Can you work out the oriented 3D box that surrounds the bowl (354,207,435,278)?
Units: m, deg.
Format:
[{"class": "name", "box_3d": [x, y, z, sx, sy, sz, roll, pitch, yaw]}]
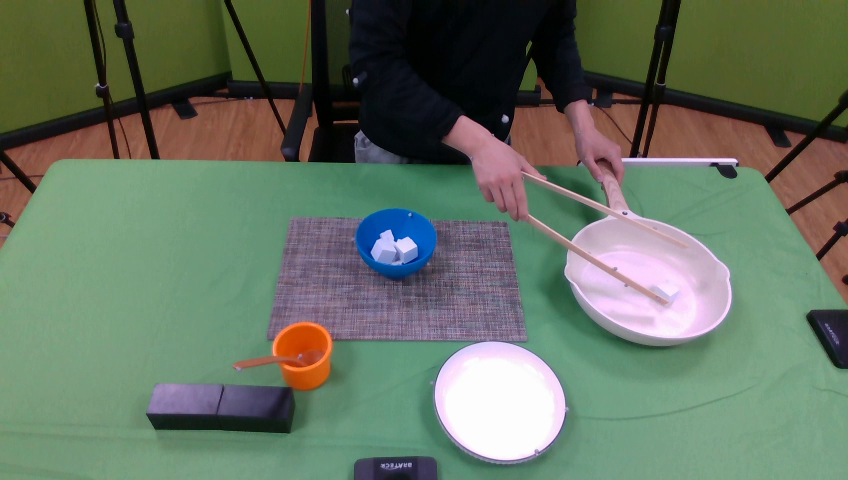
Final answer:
[{"class": "bowl", "box_3d": [-0.055, 0.018, 1.131, 0.151, 0.077, 0.150, 2, 46, -2]}]

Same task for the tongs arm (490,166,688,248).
[{"class": "tongs arm", "box_3d": [0.302, -0.058, 1.096, 0.388, 0.028, 0.028, 22, 80, -6]}]

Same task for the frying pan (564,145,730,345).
[{"class": "frying pan", "box_3d": [0.396, -0.008, 1.179, 0.307, 0.103, 0.484, 0, 55, -6]}]

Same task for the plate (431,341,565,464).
[{"class": "plate", "box_3d": [0.114, 0.255, 0.952, 0.208, 0.039, 0.206, 3, 46, -2]}]

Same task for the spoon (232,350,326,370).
[{"class": "spoon", "box_3d": [-0.216, 0.182, 0.919, 0.041, 0.194, 0.021, 43, 102, 27]}]

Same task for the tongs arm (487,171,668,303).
[{"class": "tongs arm", "box_3d": [0.275, -0.002, 1.079, 0.385, 0.026, 0.050, 30, 76, -4]}]
